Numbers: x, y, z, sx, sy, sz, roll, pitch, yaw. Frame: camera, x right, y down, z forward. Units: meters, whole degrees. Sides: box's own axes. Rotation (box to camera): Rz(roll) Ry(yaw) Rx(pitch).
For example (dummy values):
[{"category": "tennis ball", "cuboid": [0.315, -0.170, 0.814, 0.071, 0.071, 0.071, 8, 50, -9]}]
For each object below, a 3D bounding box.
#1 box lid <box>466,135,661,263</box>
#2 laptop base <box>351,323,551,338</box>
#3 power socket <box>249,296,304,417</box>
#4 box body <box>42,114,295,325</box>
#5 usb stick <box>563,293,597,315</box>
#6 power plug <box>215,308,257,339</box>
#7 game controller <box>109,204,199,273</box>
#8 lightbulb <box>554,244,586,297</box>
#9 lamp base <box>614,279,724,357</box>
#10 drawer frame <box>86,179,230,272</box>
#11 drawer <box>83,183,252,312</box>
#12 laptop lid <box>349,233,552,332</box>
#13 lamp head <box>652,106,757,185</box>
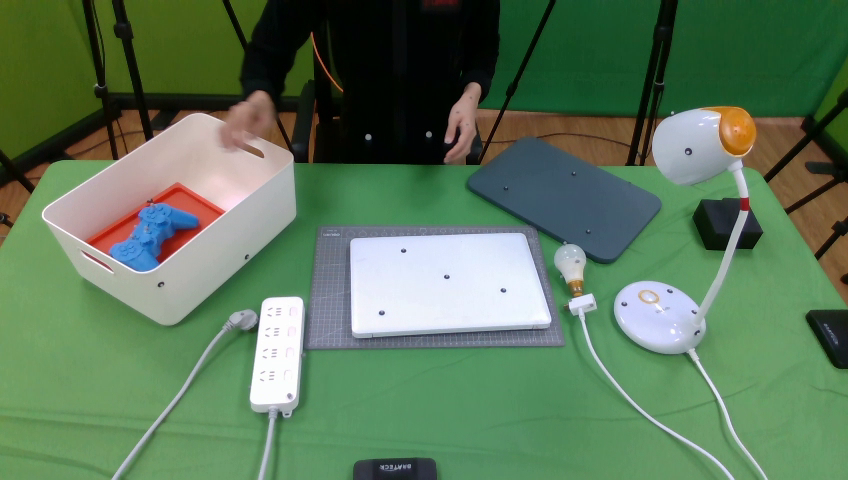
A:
[{"category": "box lid", "cuboid": [0.306, -0.102, 1.327, 0.370, 0.015, 0.263, 32, 52, 25]}, {"category": "laptop base", "cuboid": [0.040, 0.080, 1.125, 0.355, 0.023, 0.234, -2, 43, -6]}, {"category": "power socket", "cuboid": [-0.239, 0.182, 0.997, 0.072, 0.033, 0.225, -2, 47, -5]}, {"category": "box body", "cuboid": [-0.437, -0.046, 1.110, 0.253, 0.161, 0.363, 24, 49, 19]}, {"category": "usb stick", "cuboid": [0.280, 0.118, 1.093, 0.059, 0.021, 0.027, -18, 35, 25]}, {"category": "power plug", "cuboid": [-0.317, 0.143, 1.024, 0.072, 0.053, 0.035, -32, 58, -9]}, {"category": "game controller", "cuboid": [-0.467, -0.005, 1.044, 0.097, 0.052, 0.154, 8, 46, 10]}, {"category": "lightbulb", "cuboid": [0.281, 0.058, 1.146, 0.059, 0.060, 0.107, -2, 62, -6]}, {"category": "lamp base", "cuboid": [0.436, 0.090, 1.035, 0.161, 0.181, 0.178, -23, 55, -23]}, {"category": "drawer frame", "cuboid": [-0.453, 0.010, 1.100, 0.201, 0.083, 0.213, 28, 55, 22]}, {"category": "drawer", "cuboid": [-0.458, 0.008, 1.099, 0.194, 0.073, 0.211, 29, 49, 21]}, {"category": "laptop lid", "cuboid": [0.040, 0.070, 1.119, 0.357, 0.013, 0.240, -1, 44, -5]}, {"category": "lamp head", "cuboid": [0.410, -0.139, 0.869, 0.113, 0.122, 0.112, 0, 89, -19]}]
